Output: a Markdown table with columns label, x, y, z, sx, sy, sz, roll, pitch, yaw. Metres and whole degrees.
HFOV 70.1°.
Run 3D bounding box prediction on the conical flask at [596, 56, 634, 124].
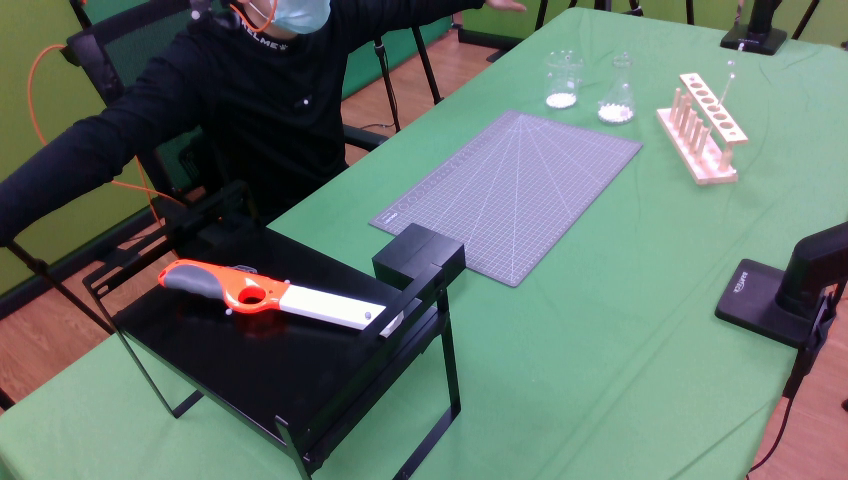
| label | x | y | z | sx | sy | sz | roll | pitch | yaw |
| --- | --- | --- | --- | --- | --- | --- | --- | --- | --- |
| conical flask | 0.380 | -0.294 | 1.185 | 0.075 | 0.122 | 0.075 | -4 | 41 | 4 |

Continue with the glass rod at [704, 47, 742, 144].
| label | x | y | z | sx | sy | sz | roll | pitch | yaw |
| --- | --- | --- | --- | --- | --- | --- | --- | --- | --- |
| glass rod | 0.502 | -0.238 | 1.027 | 0.008 | 0.200 | 0.008 | -1 | 49 | 2 |

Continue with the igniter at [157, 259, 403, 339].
| label | x | y | z | sx | sy | sz | roll | pitch | yaw |
| --- | --- | --- | --- | --- | --- | --- | --- | --- | --- |
| igniter | -0.157 | 0.059 | 0.638 | 0.275 | 0.025 | 0.057 | 11 | 43 | 14 |

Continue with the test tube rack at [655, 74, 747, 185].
| label | x | y | z | sx | sy | sz | roll | pitch | yaw |
| --- | --- | --- | --- | --- | --- | --- | --- | --- | --- |
| test tube rack | 0.491 | -0.205 | 1.092 | 0.067 | 0.085 | 0.241 | -5 | 40 | 3 |

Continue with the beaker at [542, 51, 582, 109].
| label | x | y | z | sx | sy | sz | roll | pitch | yaw |
| --- | --- | --- | --- | --- | --- | --- | --- | --- | --- |
| beaker | 0.286 | -0.330 | 1.258 | 0.083 | 0.101 | 0.074 | 21 | 49 | 28 |
